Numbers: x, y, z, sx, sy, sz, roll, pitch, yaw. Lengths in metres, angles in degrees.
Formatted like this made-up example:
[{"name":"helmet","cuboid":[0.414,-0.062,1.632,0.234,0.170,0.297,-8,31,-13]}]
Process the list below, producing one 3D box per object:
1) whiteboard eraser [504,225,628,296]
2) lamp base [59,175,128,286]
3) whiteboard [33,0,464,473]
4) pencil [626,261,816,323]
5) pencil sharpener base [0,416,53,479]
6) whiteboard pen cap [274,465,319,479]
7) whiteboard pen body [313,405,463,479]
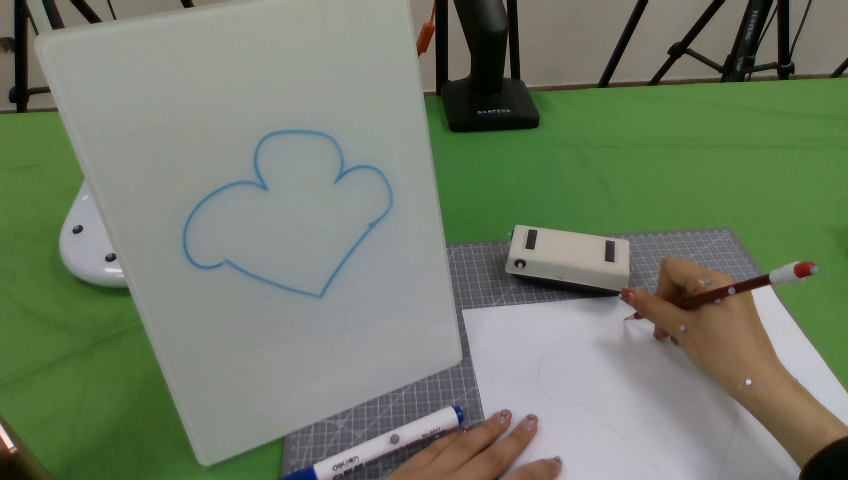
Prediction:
[{"name":"whiteboard eraser","cuboid":[0.136,0.020,0.577,0.112,0.042,0.055,9,43,10]},{"name":"lamp base","cuboid":[-0.296,-0.074,0.576,0.178,0.182,0.160,25,47,28]},{"name":"whiteboard","cuboid":[-0.112,-0.021,0.470,0.218,0.307,0.142,-18,25,-18]},{"name":"pencil","cuboid":[0.210,0.046,0.458,0.012,0.194,0.012,5,71,-15]},{"name":"pencil sharpener base","cuboid":[-0.275,0.161,0.367,0.061,0.108,0.076,32,51,30]},{"name":"whiteboard pen cap","cuboid":[-0.089,0.169,0.420,0.033,0.018,0.018,-19,45,-19]},{"name":"whiteboard pen body","cuboid":[-0.036,0.152,0.439,0.141,0.017,0.017,-18,44,-18]}]
